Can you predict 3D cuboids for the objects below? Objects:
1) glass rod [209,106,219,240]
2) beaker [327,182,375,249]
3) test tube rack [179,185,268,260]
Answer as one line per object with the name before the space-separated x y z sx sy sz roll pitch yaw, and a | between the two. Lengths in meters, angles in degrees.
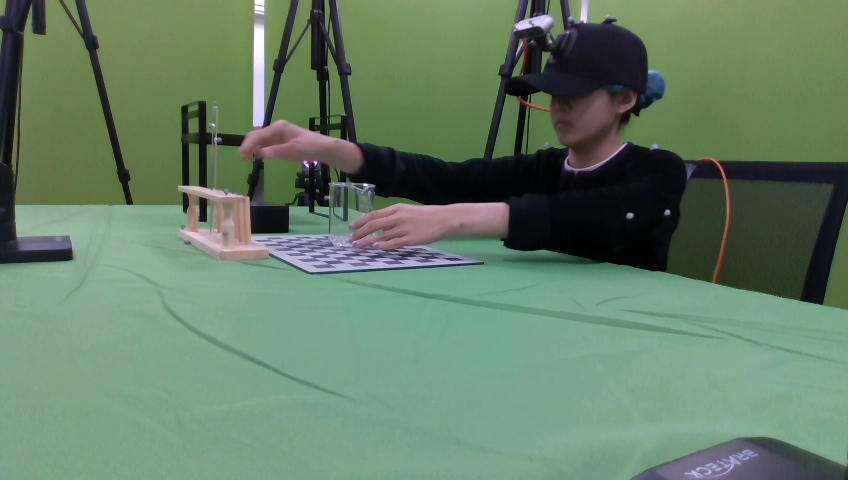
glass rod | -0.305 -0.096 0.878 0.008 0.199 0.008 2 0 0
beaker | -0.114 -0.039 0.950 0.074 0.100 0.083 -2 9 -31
test tube rack | -0.303 -0.031 0.898 0.067 0.085 0.241 -2 9 -33
